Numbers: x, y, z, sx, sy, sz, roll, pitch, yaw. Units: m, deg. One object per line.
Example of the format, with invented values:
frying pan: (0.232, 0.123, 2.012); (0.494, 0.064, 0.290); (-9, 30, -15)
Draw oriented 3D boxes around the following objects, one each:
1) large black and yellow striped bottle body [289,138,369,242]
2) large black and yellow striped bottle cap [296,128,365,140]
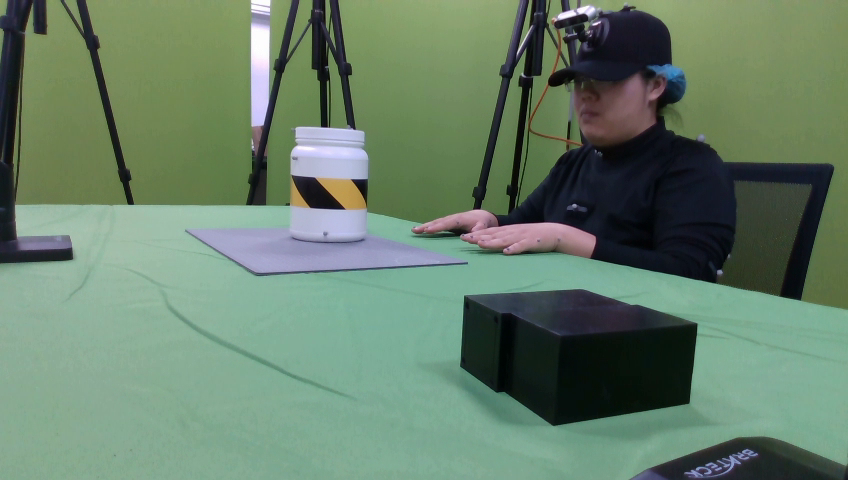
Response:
large black and yellow striped bottle body: (-0.161, -0.094, 1.026); (0.131, 0.184, 0.130); (3, 8, 0)
large black and yellow striped bottle cap: (-0.156, -0.177, 1.014); (0.115, 0.019, 0.115); (1, 7, 0)
